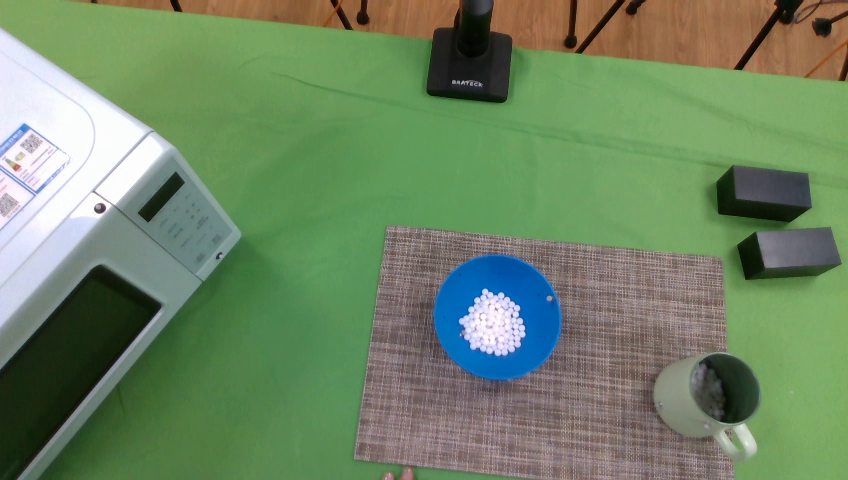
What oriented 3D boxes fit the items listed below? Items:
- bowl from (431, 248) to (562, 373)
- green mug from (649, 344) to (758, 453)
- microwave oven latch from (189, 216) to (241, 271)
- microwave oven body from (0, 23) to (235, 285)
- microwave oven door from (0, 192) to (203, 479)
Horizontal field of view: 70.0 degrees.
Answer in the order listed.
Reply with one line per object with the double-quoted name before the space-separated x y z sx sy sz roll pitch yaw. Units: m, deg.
"bowl" 0.083 0.092 0.737 0.151 0.077 0.150 0 70 0
"green mug" 0.327 0.182 0.694 0.092 0.105 0.124 -25 72 -9
"microwave oven latch" -0.269 0.000 0.772 0.030 0.029 0.079 34 74 11
"microwave oven body" -0.491 0.025 0.658 0.325 0.261 0.440 33 74 10
"microwave oven door" -0.394 0.134 0.616 0.039 0.245 0.355 33 73 11
